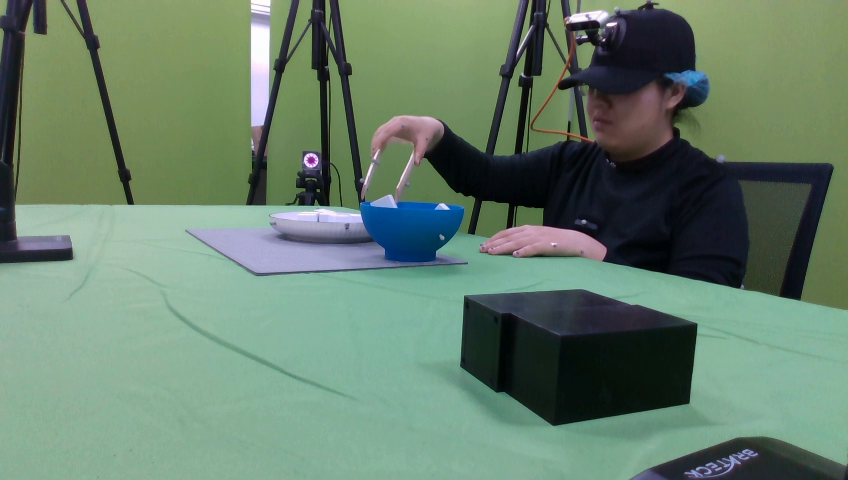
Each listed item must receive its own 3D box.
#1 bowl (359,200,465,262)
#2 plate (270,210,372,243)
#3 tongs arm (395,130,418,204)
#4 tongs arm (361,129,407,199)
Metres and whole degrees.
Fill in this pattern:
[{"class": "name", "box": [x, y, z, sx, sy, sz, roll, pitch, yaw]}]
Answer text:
[{"class": "bowl", "box": [-0.018, -0.013, 0.859, 0.151, 0.077, 0.151, 2, 7, 0]}, {"class": "plate", "box": [-0.161, -0.023, 1.055, 0.208, 0.039, 0.207, 2, 7, 0]}, {"class": "tongs arm", "box": [-0.032, -0.137, 1.051, 0.028, 0.028, 0.387, 4, 23, 1]}, {"class": "tongs arm", "box": [-0.063, -0.142, 1.051, 0.051, 0.026, 0.384, 7, 23, -2]}]
